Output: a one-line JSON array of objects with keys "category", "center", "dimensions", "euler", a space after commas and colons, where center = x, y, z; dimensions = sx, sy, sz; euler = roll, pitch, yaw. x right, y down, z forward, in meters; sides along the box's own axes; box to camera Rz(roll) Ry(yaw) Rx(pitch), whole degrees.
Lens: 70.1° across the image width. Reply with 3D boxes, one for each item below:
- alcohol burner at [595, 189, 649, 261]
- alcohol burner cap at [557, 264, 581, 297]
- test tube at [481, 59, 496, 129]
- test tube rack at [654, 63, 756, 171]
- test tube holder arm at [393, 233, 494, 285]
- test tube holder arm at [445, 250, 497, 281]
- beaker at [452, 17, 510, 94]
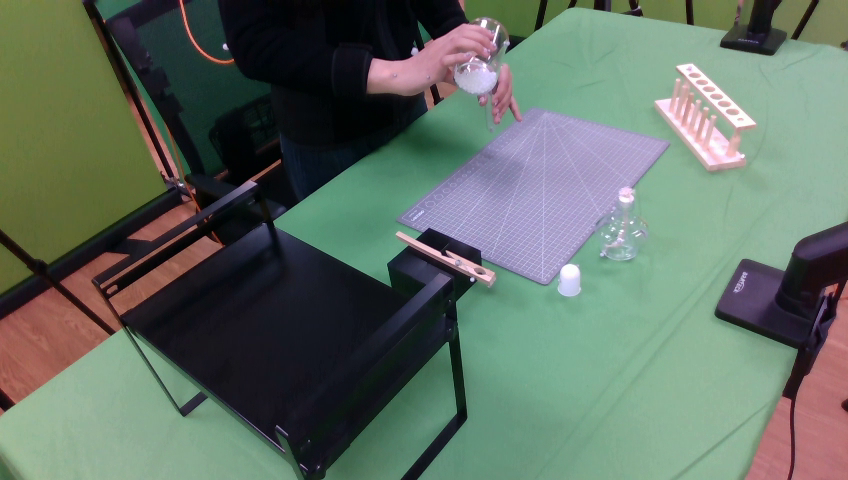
[{"category": "alcohol burner", "center": [0.294, -0.028, 0.894], "dimensions": [0.078, 0.119, 0.077], "euler": [-4, 43, 5]}, {"category": "alcohol burner cap", "center": [0.208, 0.055, 0.866], "dimensions": [0.034, 0.048, 0.033], "euler": [-4, 42, 4]}, {"category": "test tube", "center": [0.112, -0.248, 1.045], "dimensions": [0.017, 0.151, 0.017], "euler": [-5, 54, 8]}, {"category": "test tube rack", "center": [0.510, -0.233, 1.120], "dimensions": [0.067, 0.085, 0.241], "euler": [-8, 41, -1]}, {"category": "test tube holder arm", "center": [0.024, 0.025, 0.871], "dimensions": [0.177, 0.015, 0.013], "euler": [23, 57, 31]}, {"category": "test tube holder arm", "center": [0.063, 0.036, 0.850], "dimensions": [0.087, 0.015, 0.010], "euler": [23, 58, 31]}, {"category": "beaker", "center": [0.086, -0.278, 0.927], "dimensions": [0.074, 0.084, 0.100], "euler": [10, 55, 10]}]
